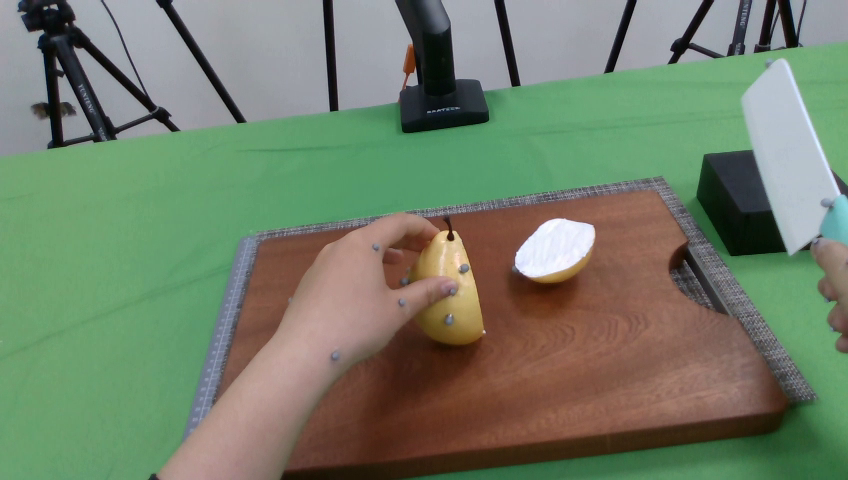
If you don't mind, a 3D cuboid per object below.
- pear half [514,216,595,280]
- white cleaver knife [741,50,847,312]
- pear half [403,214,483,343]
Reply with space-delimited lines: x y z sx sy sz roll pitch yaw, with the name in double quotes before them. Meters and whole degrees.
"pear half" 0.114 0.011 0.517 0.070 0.031 0.087 -14 23 18
"white cleaver knife" 0.280 -0.026 0.436 0.021 0.066 0.284 8 56 -5
"pear half" 0.010 0.028 0.454 0.056 0.111 0.075 -17 35 -8
